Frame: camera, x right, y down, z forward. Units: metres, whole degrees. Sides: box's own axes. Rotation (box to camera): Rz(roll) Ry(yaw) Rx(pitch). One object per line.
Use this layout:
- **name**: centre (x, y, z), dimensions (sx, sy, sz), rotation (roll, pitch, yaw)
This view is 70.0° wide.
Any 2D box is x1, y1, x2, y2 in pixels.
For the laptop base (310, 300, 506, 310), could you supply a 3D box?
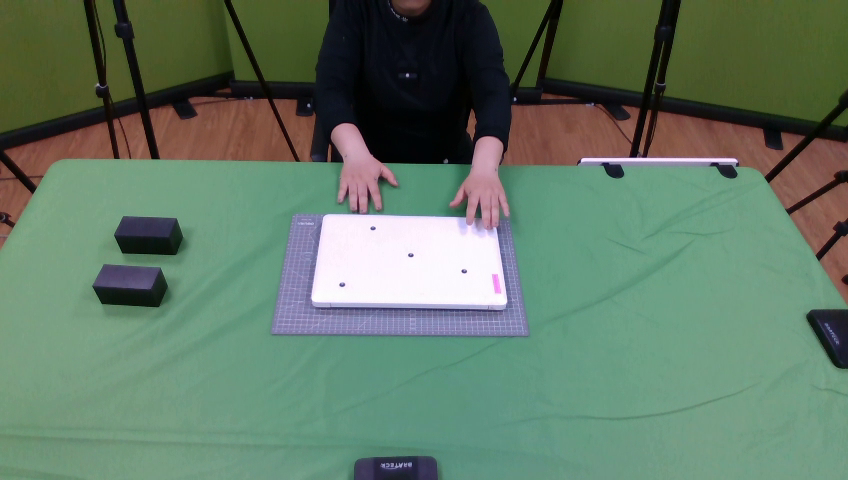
- **laptop base**: centre (-0.029, 0.043, 1.156), dimensions (0.354, 0.023, 0.234), rotation (1, 42, -3)

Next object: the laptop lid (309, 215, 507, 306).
- **laptop lid**: centre (-0.028, 0.032, 1.149), dimensions (0.357, 0.013, 0.240), rotation (3, 44, -2)
